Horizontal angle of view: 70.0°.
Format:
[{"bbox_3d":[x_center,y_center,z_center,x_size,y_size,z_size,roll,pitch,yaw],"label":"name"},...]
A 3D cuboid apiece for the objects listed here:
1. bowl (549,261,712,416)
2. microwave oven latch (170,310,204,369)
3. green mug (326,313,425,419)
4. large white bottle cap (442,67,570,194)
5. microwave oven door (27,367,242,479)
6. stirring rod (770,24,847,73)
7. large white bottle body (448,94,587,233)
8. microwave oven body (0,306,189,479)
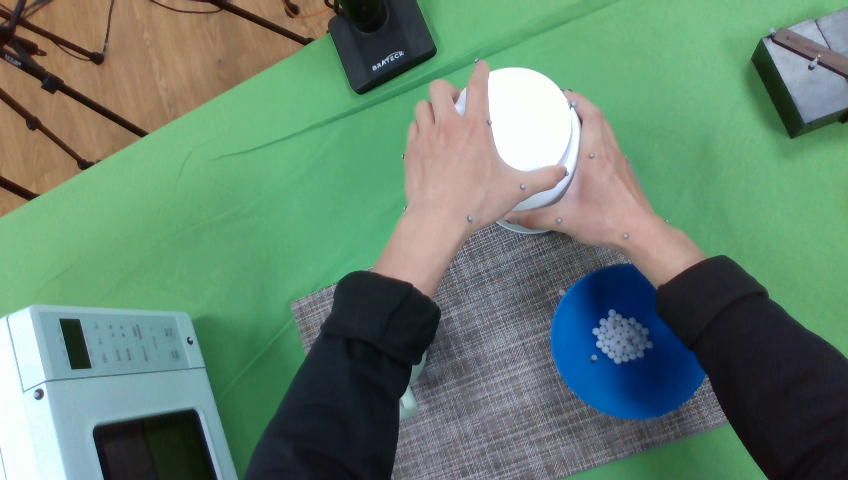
[{"bbox_3d":[0.209,0.100,0.623,0.151,0.077,0.151,-2,82,17],"label":"bowl"},{"bbox_3d":[-0.313,0.130,0.782,0.030,0.029,0.078,-25,77,12],"label":"microwave oven latch"},{"bbox_3d":[-0.045,0.142,0.680,0.092,0.105,0.124,-32,75,10],"label":"green mug"},{"bbox_3d":[0.073,-0.099,0.545,0.114,0.018,0.114,-3,81,16],"label":"large white bottle cap"},{"bbox_3d":[-0.265,0.314,0.637,0.039,0.245,0.354,-26,76,12],"label":"microwave oven door"},{"bbox_3d":[0.416,-0.163,0.580,0.175,0.006,0.014,35,128,17],"label":"stirring rod"},{"bbox_3d":[0.098,-0.085,0.624,0.130,0.186,0.130,-3,80,17],"label":"large white bottle body"},{"bbox_3d":[-0.408,0.338,0.683,0.326,0.261,0.439,-25,77,12],"label":"microwave oven body"}]
